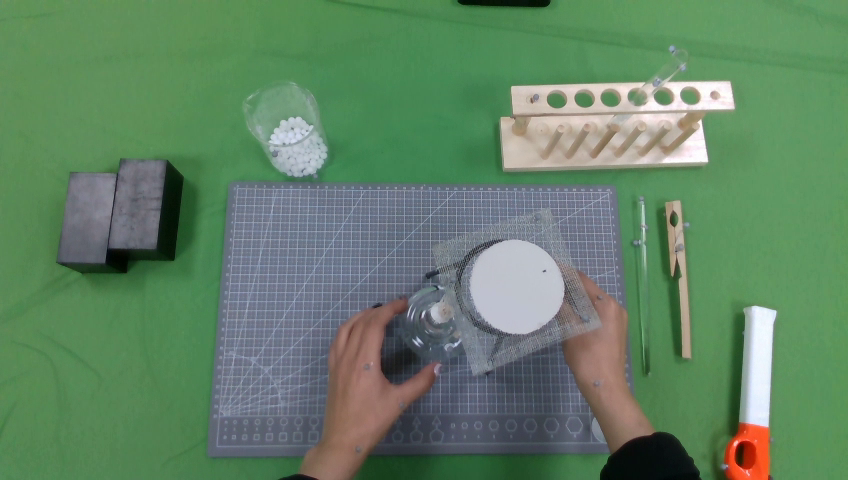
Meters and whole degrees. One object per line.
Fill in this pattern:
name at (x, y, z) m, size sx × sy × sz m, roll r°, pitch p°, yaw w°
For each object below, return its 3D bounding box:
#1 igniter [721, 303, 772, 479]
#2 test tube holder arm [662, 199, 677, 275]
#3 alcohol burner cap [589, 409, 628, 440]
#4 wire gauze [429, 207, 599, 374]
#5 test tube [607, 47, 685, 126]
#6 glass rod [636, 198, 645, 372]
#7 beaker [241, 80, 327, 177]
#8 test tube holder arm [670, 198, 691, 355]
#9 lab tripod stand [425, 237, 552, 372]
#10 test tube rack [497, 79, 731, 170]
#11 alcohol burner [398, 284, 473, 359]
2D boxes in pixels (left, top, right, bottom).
igniter at (0.345, 0.204, 0.643) m, size 0.057 × 0.025 × 0.275 m, roll 13°, pitch 76°, yaw -9°
test tube holder arm at (0.284, -0.003, 0.697) m, size 0.010 × 0.015 × 0.087 m, roll -8°, pitch 74°, yaw 30°
alcohol burner cap at (0.194, 0.192, 0.628) m, size 0.034 × 0.048 × 0.033 m, roll 1°, pitch 75°, yaw -2°
wire gauze at (0.079, 0.041, 0.545) m, size 0.121 × 0.011 × 0.124 m, roll -18°, pitch 77°, yaw -5°
test tube at (0.232, -0.158, 0.648) m, size 0.017 × 0.150 × 0.017 m, roll 2°, pitch 75°, yaw -8°
glass rod at (0.246, 0.049, 0.687) m, size 0.008 × 0.008 × 0.199 m, roll 3°, pitch 79°, yaw -2°
beaker at (-0.150, -0.118, 0.665) m, size 0.084 × 0.100 × 0.073 m, roll 18°, pitch 75°, yaw 3°
test tube holder arm at (0.289, 0.040, 0.684) m, size 0.013 × 0.015 × 0.177 m, roll -8°, pitch 74°, yaw 30°
lab tripod stand at (0.066, 0.056, 0.610) m, size 0.148 × 0.132 × 0.147 m, roll 0°, pitch 76°, yaw 0°
test tube rack at (0.212, -0.130, 0.691) m, size 0.242 × 0.085 × 0.066 m, roll -2°, pitch 75°, yaw -3°
alcohol burner at (0.012, 0.079, 0.612) m, size 0.078 × 0.119 × 0.077 m, roll 0°, pitch 73°, yaw -1°
